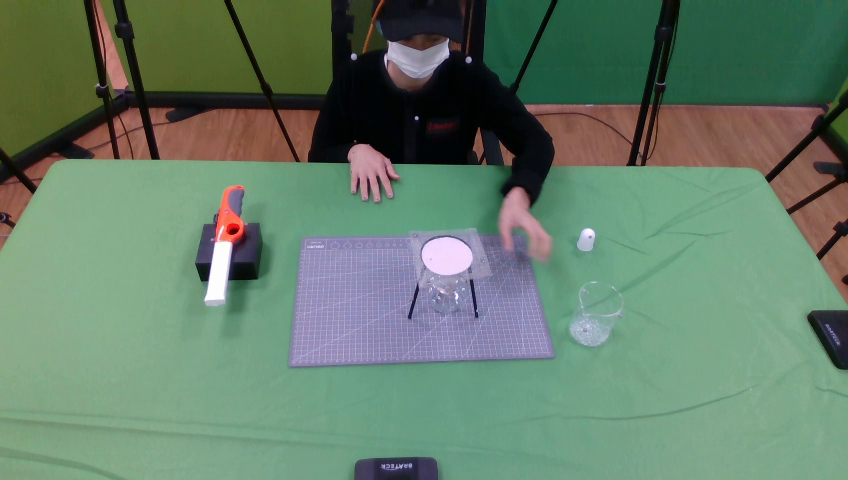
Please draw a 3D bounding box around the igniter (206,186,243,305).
[{"bbox_3d":[-0.361,0.001,1.100,0.057,0.025,0.274,-2,49,-6],"label":"igniter"}]

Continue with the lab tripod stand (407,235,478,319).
[{"bbox_3d":[0.032,0.065,1.057,0.148,0.132,0.147,1,45,-1],"label":"lab tripod stand"}]

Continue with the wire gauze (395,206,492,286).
[{"bbox_3d":[0.031,0.010,0.993,0.125,0.011,0.120,-24,57,-17],"label":"wire gauze"}]

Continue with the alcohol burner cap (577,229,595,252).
[{"bbox_3d":[0.326,-0.002,1.213,0.034,0.048,0.033,1,47,-1],"label":"alcohol burner cap"}]

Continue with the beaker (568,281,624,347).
[{"bbox_3d":[0.290,0.132,1.041,0.084,0.101,0.073,-34,57,-31],"label":"beaker"}]

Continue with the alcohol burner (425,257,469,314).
[{"bbox_3d":[0.041,0.074,1.062,0.078,0.120,0.077,1,46,-1],"label":"alcohol burner"}]
